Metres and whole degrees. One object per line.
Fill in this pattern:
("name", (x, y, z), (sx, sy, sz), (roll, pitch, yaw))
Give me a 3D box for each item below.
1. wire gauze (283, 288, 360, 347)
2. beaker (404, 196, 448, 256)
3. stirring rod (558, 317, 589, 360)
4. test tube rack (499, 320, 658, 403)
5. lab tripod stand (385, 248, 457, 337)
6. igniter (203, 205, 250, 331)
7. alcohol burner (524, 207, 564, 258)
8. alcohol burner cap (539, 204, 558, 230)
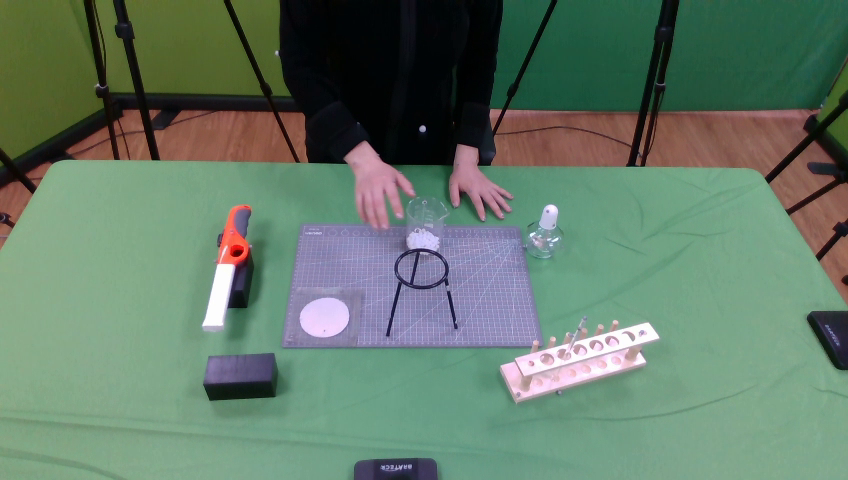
("wire gauze", (-0.178, 0.132, 1.063), (0.125, 0.011, 0.120), (2, 46, 1))
("beaker", (0.001, -0.024, 1.164), (0.084, 0.101, 0.073), (6, 46, 0))
("stirring rod", (0.221, 0.155, 0.912), (0.014, 0.177, 0.006), (5, 58, 3))
("test tube rack", (0.252, 0.187, 0.994), (0.243, 0.085, 0.066), (-12, 48, -15))
("lab tripod stand", (-0.010, 0.087, 1.032), (0.148, 0.132, 0.147), (1, 45, -1))
("igniter", (-0.345, 0.039, 1.065), (0.057, 0.025, 0.274), (2, 49, -6))
("alcohol burner", (0.236, -0.021, 1.174), (0.078, 0.120, 0.077), (1, 48, -1))
("alcohol burner cap", (0.238, -0.046, 1.148), (0.034, 0.048, 0.033), (2, 43, -1))
